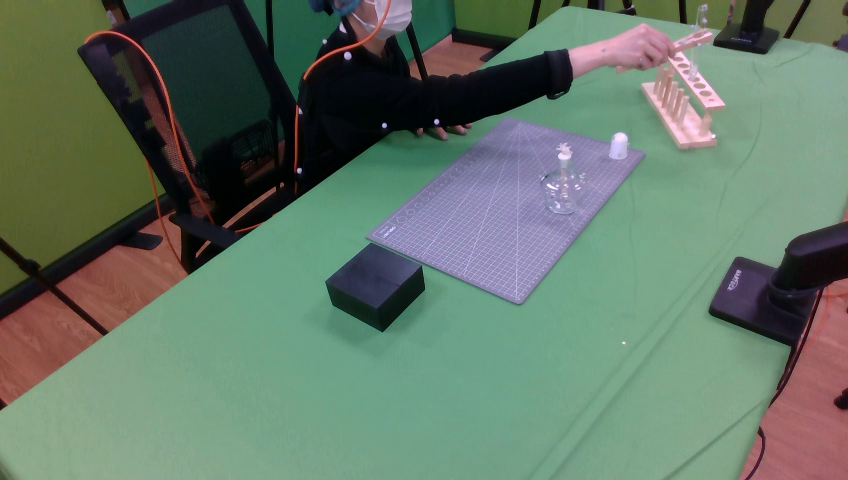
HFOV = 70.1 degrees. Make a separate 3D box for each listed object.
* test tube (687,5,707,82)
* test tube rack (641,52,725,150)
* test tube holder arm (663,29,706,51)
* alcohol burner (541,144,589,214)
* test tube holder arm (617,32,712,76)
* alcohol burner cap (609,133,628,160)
[{"bbox_3d":[0.490,-0.349,1.086,0.017,0.151,0.017,-7,48,9],"label":"test tube"},{"bbox_3d":[0.495,-0.279,1.175,0.067,0.085,0.241,-5,41,3],"label":"test tube rack"},{"bbox_3d":[0.463,-0.351,1.076,0.088,0.015,0.010,-27,44,-9],"label":"test tube holder arm"},{"bbox_3d":[0.229,-0.102,0.983,0.078,0.119,0.077,-6,41,5],"label":"alcohol burner"},{"bbox_3d":[0.424,-0.329,1.068,0.178,0.015,0.013,-22,43,-3],"label":"test tube holder arm"},{"bbox_3d":[0.356,-0.172,1.101,0.034,0.048,0.033,-6,40,5],"label":"alcohol burner cap"}]
